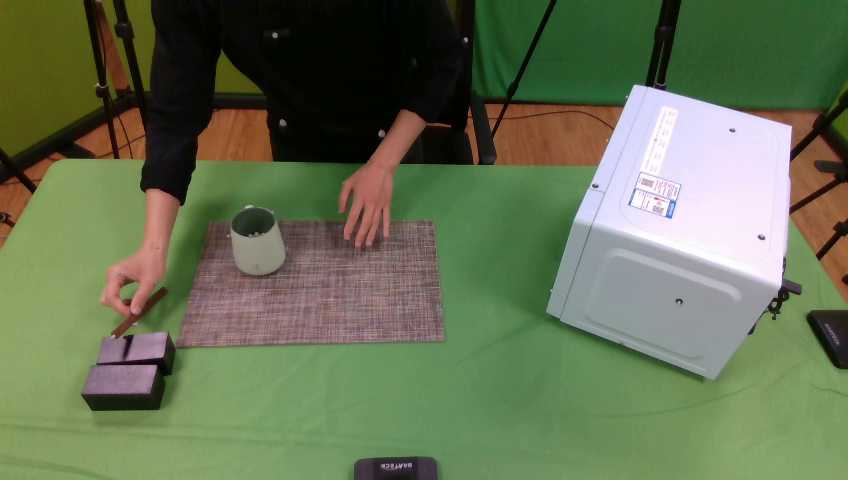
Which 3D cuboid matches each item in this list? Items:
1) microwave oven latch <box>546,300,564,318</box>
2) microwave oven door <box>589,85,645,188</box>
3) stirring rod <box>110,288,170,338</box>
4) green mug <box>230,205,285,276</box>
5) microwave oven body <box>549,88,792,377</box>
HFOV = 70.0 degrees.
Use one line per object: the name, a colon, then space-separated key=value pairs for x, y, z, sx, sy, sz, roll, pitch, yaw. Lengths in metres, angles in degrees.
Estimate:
microwave oven latch: x=0.242 y=0.102 z=1.081 sx=0.030 sy=0.029 sz=0.079 roll=21 pitch=48 yaw=17
microwave oven door: x=0.342 y=-0.107 z=1.149 sx=0.039 sy=0.245 sz=0.354 roll=20 pitch=48 yaw=15
stirring rod: x=-0.467 y=0.118 z=1.005 sx=0.014 sy=0.006 sz=0.175 roll=42 pitch=16 yaw=-10
green mug: x=-0.311 y=-0.008 z=1.118 sx=0.092 sy=0.105 sz=0.124 roll=-14 pitch=48 yaw=-16
microwave oven body: x=0.456 y=-0.028 z=1.088 sx=0.325 sy=0.261 sz=0.440 roll=20 pitch=47 yaw=16
